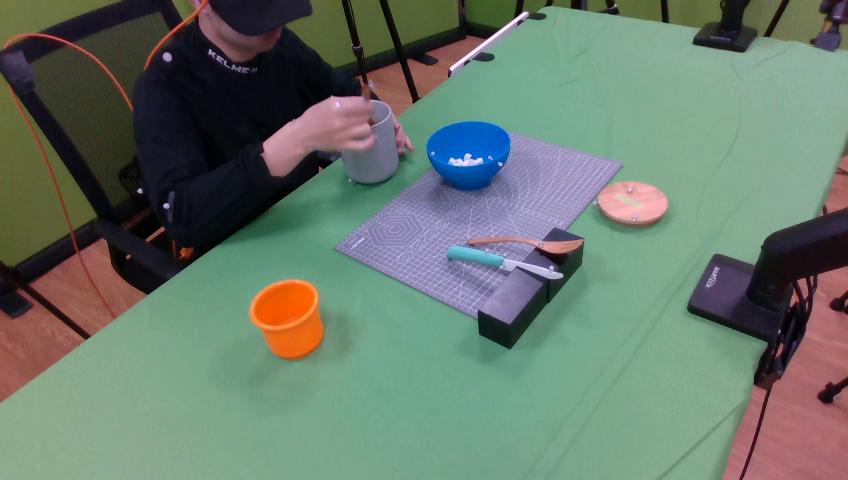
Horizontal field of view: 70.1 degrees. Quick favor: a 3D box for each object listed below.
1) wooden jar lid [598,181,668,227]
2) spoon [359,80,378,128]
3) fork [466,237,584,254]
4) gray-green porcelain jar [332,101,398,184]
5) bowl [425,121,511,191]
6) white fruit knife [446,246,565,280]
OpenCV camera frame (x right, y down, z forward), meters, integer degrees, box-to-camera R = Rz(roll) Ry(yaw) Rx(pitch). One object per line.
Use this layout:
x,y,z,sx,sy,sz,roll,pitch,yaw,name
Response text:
0.340,-0.057,0.989,0.108,0.021,0.108,-5,41,5,wooden jar lid
-0.097,-0.216,1.013,0.042,0.194,0.021,-24,74,-7,spoon
0.142,0.005,0.894,0.205,0.019,0.028,4,43,41,fork
-0.105,-0.174,1.109,0.106,0.127,0.105,-4,40,4,gray-green porcelain jar
0.081,-0.141,1.074,0.151,0.077,0.150,-4,40,4,bowl
0.111,0.033,0.868,0.205,0.027,0.016,11,44,40,white fruit knife
